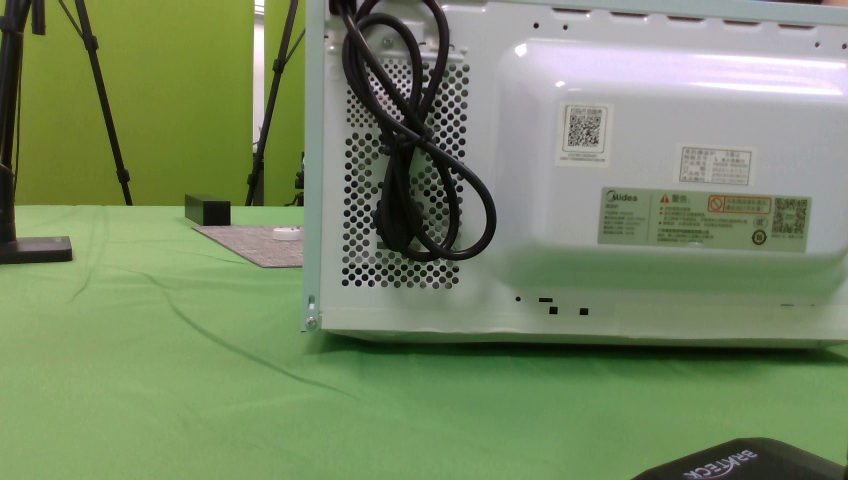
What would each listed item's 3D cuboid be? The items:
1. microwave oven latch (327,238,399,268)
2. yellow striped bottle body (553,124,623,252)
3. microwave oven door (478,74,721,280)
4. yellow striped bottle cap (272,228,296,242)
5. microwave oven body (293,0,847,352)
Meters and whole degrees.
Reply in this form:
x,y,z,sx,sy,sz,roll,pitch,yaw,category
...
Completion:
x,y,z,sx,sy,sz,roll,pitch,yaw,category
-0.069,0.015,0.694,0.079,0.029,0.030,3,7,-3,microwave oven latch
0.158,-0.050,0.584,0.063,0.120,0.063,1,3,0,yellow striped bottle body
0.217,-0.093,0.839,0.039,0.243,0.354,-4,10,-40,microwave oven door
-0.232,-0.008,1.012,0.044,0.018,0.044,4,8,0,yellow striped bottle cap
0.122,-0.055,0.551,0.442,0.260,0.325,3,7,-5,microwave oven body
